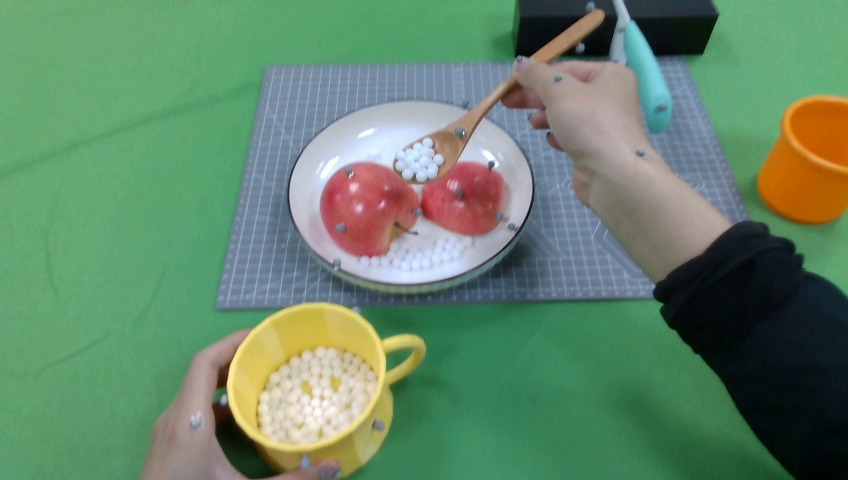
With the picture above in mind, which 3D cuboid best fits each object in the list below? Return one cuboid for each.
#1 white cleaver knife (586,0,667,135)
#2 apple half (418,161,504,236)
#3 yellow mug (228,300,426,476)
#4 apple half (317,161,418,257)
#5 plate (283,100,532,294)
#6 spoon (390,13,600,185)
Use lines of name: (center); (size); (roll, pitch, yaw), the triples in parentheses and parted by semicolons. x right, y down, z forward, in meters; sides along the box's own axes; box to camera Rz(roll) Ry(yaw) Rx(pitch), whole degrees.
white cleaver knife: (0.201, -0.203, 0.622); (0.021, 0.066, 0.283); (-4, 50, 4)
apple half: (0.031, -0.044, 0.517); (0.081, 0.033, 0.080); (0, 55, 1)
yellow mug: (-0.059, 0.094, 0.411); (0.131, 0.064, 0.099); (-20, 57, -15)
apple half: (-0.048, -0.034, 0.499); (0.081, 0.054, 0.074); (-39, 59, -24)
plate: (-0.014, -0.039, 0.522); (0.209, 0.038, 0.207); (0, 54, 1)
spoon: (0.055, -0.105, 0.445); (0.194, 0.022, 0.041); (-40, 59, 3)
